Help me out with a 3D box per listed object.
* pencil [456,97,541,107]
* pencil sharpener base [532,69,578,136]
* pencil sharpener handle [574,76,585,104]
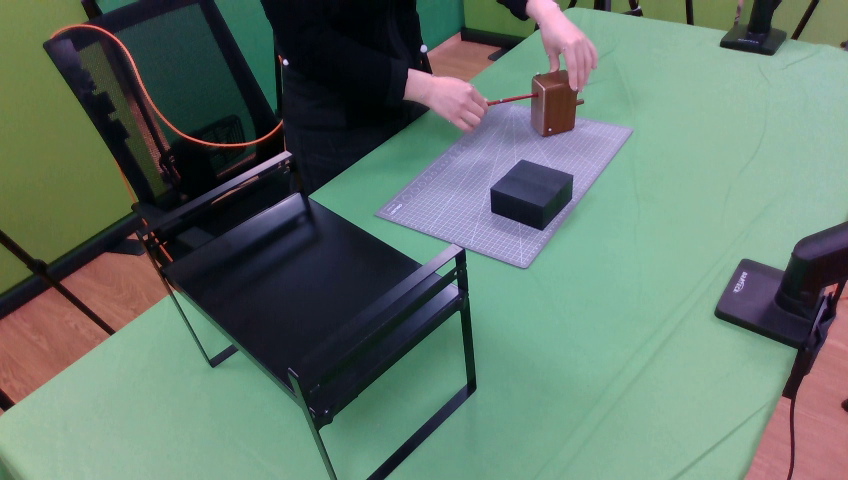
[{"bbox_3d":[0.155,-0.261,1.138,0.194,0.012,0.012,-5,40,-8],"label":"pencil"},{"bbox_3d":[0.256,-0.268,1.178,0.077,0.107,0.061,-15,41,-9],"label":"pencil sharpener base"},{"bbox_3d":[0.303,-0.293,1.181,0.031,0.068,0.035,-15,55,-8],"label":"pencil sharpener handle"}]
